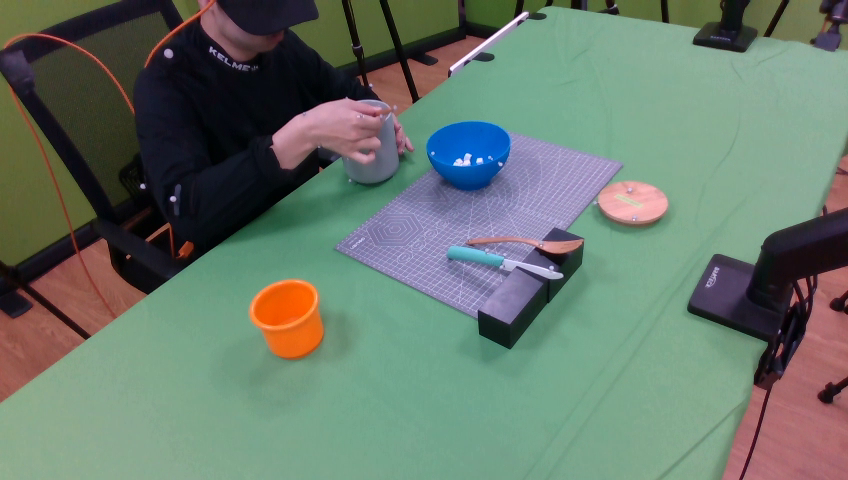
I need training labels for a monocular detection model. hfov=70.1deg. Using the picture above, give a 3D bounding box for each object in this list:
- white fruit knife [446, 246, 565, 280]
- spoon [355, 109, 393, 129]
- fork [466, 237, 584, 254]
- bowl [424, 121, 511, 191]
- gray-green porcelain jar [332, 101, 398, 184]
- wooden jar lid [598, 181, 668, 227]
[{"bbox_3d":[0.111,0.033,0.868,0.205,0.027,0.016,11,44,40],"label":"white fruit knife"},{"bbox_3d":[-0.085,-0.207,1.038,0.042,0.021,0.193,-11,3,-17],"label":"spoon"},{"bbox_3d":[0.142,0.005,0.894,0.205,0.019,0.028,4,43,41],"label":"fork"},{"bbox_3d":[0.081,-0.140,1.074,0.151,0.077,0.150,-4,40,4],"label":"bowl"},{"bbox_3d":[-0.105,-0.174,1.108,0.106,0.127,0.105,-4,40,4],"label":"gray-green porcelain jar"},{"bbox_3d":[0.340,-0.058,0.989,0.108,0.021,0.108,-5,41,5],"label":"wooden jar lid"}]
